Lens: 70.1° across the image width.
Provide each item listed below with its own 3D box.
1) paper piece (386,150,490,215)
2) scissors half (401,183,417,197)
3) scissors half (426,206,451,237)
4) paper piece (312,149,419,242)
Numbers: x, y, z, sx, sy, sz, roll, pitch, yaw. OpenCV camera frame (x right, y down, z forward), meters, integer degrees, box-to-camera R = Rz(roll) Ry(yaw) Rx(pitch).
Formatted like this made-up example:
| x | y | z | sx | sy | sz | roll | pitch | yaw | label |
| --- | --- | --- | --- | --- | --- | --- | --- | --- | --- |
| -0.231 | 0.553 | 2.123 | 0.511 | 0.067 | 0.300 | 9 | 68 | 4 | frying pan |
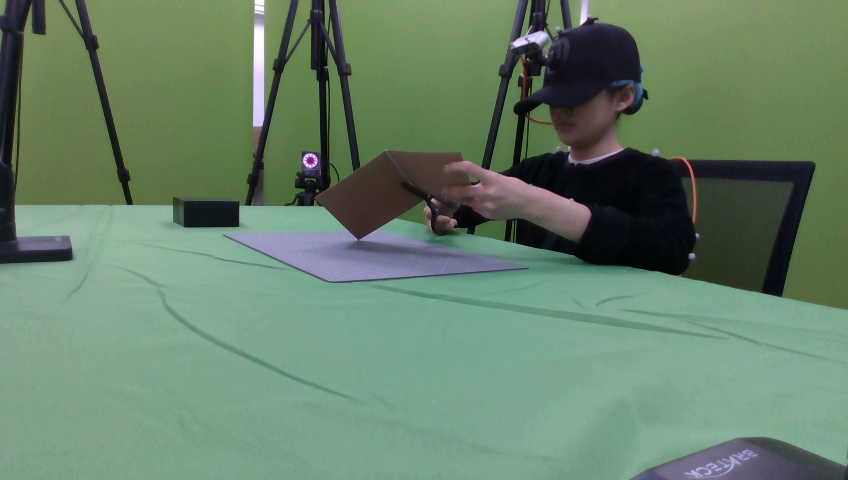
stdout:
| x | y | z | sx | sy | sz | roll | pitch | yaw | label |
| --- | --- | --- | --- | --- | --- | --- | --- | --- | --- |
| 0.021 | -0.088 | 0.926 | 0.135 | 0.004 | 0.136 | 11 | -30 | 36 | paper piece |
| 0.014 | -0.079 | 1.027 | 0.012 | 0.040 | 0.176 | 18 | 7 | 36 | scissors half |
| 0.005 | -0.058 | 1.024 | 0.013 | 0.040 | 0.176 | 13 | -29 | 35 | scissors half |
| -0.087 | -0.066 | 0.975 | 0.138 | 0.136 | 0.008 | -32 | 46 | 7 | paper piece |
